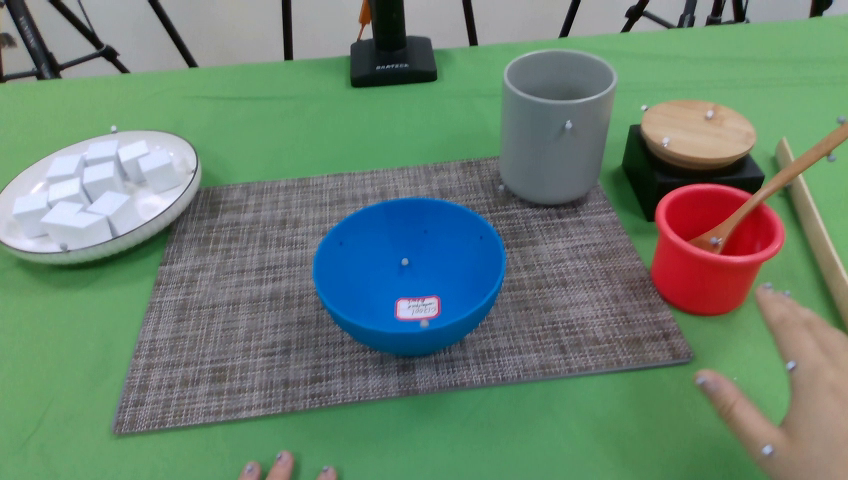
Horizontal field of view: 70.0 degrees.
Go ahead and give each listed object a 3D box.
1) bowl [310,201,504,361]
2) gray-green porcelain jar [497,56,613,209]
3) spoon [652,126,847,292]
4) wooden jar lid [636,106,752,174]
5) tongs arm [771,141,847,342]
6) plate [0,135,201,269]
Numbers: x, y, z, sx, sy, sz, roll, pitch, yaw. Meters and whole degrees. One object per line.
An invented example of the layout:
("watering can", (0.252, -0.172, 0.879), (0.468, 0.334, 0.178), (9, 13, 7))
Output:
("bowl", (-0.011, 0.045, 0.492), (0.151, 0.077, 0.150), (-2, 42, 2))
("gray-green porcelain jar", (0.127, -0.103, 0.610), (0.106, 0.127, 0.105), (-2, 42, 2))
("spoon", (0.271, -0.024, 0.505), (0.022, 0.194, 0.041), (30, 23, -33))
("wooden jar lid", (0.268, -0.100, 0.608), (0.108, 0.021, 0.107), (-2, 42, 3))
("tongs arm", (0.363, 0.029, 0.529), (0.028, 0.028, 0.384), (5, 43, 6))
("plate", (-0.339, -0.040, 0.639), (0.209, 0.038, 0.207), (-2, 42, 3))
